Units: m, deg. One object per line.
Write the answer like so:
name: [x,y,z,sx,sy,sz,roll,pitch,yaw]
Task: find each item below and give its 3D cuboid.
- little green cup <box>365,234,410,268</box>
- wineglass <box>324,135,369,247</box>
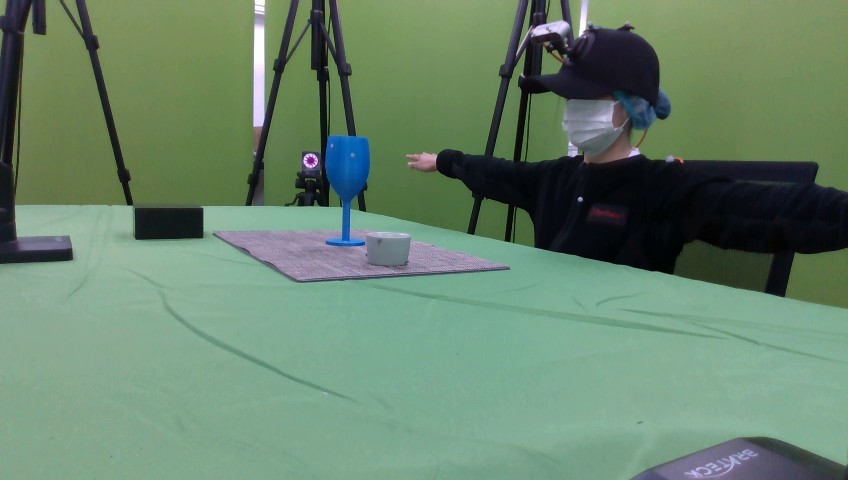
little green cup: [-0.048,0.014,0.802,0.061,0.038,0.061,2,8,0]
wineglass: [-0.125,-0.079,0.965,0.074,0.172,0.073,3,7,0]
